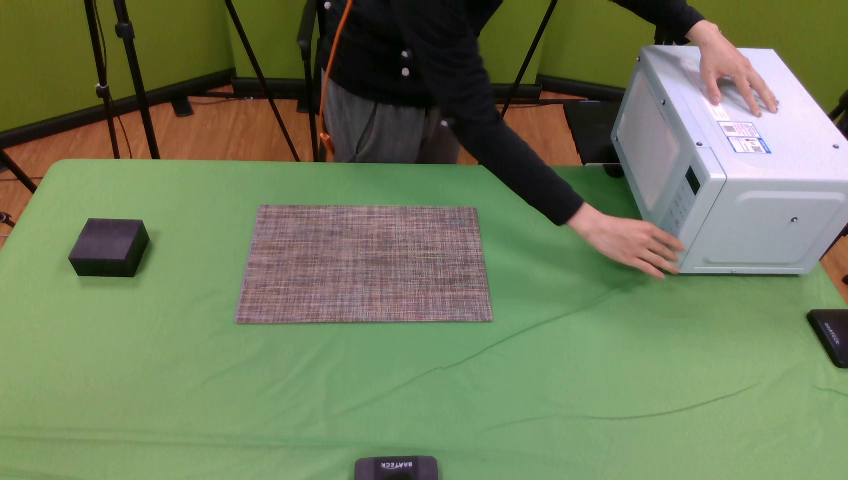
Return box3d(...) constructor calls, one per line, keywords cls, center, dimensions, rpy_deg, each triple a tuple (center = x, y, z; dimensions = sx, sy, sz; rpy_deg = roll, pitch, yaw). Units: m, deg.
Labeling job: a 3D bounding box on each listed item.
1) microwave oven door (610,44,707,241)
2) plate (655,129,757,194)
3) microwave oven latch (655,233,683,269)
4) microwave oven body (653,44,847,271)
box3d(cls="microwave oven door", center=(0.474, -0.208, 1.250), dimensions=(0.039, 0.245, 0.353), rpy_deg=(0, 47, -3))
box3d(cls="plate", center=(0.601, -0.165, 1.305), dimensions=(0.209, 0.038, 0.208), rpy_deg=(2, 45, -2))
box3d(cls="microwave oven latch", center=(0.473, 0.021, 1.175), dimensions=(0.030, 0.029, 0.078), rpy_deg=(2, 46, -1))
box3d(cls="microwave oven body", center=(0.620, -0.172, 1.234), dimensions=(0.326, 0.261, 0.439), rpy_deg=(0, 46, -3))
